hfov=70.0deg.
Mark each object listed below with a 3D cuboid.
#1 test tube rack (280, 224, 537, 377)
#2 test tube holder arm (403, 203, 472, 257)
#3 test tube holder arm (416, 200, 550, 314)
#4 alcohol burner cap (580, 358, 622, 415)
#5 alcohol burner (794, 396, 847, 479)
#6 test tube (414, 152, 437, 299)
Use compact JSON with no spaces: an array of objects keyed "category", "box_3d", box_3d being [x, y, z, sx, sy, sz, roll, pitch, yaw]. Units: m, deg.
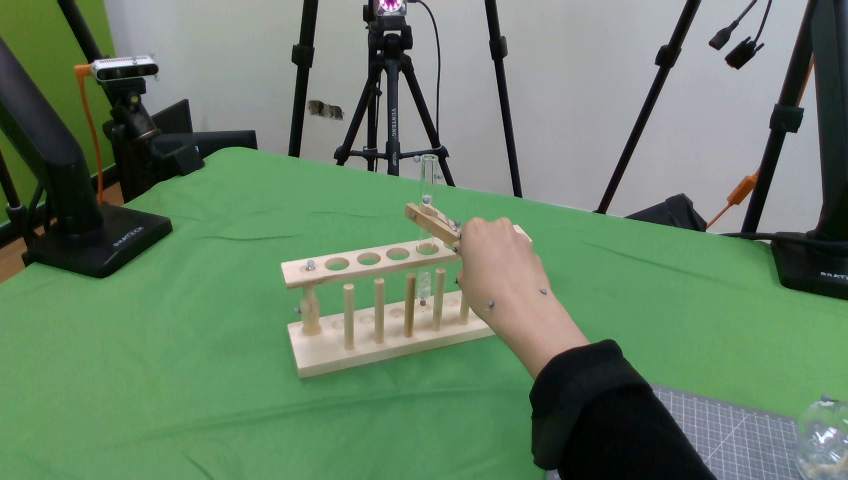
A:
[{"category":"test tube rack","box_3d":[-0.009,0.053,0.585,0.243,0.086,0.066,-9,34,-18]},{"category":"test tube holder arm","box_3d":[0.013,-0.010,0.546,0.010,0.015,0.087,-25,43,-37]},{"category":"test tube holder arm","box_3d":[0.045,0.009,0.520,0.013,0.015,0.176,-19,39,-31]},{"category":"alcohol burner cap","box_3d":[0.154,0.122,0.520,0.034,0.048,0.033,2,33,-1]},{"category":"alcohol burner","box_3d":[0.321,0.135,0.442,0.078,0.120,0.077,2,34,-1]},{"category":"test tube","box_3d":[0.001,-0.009,0.570,0.017,0.151,0.017,2,27,-1]}]
